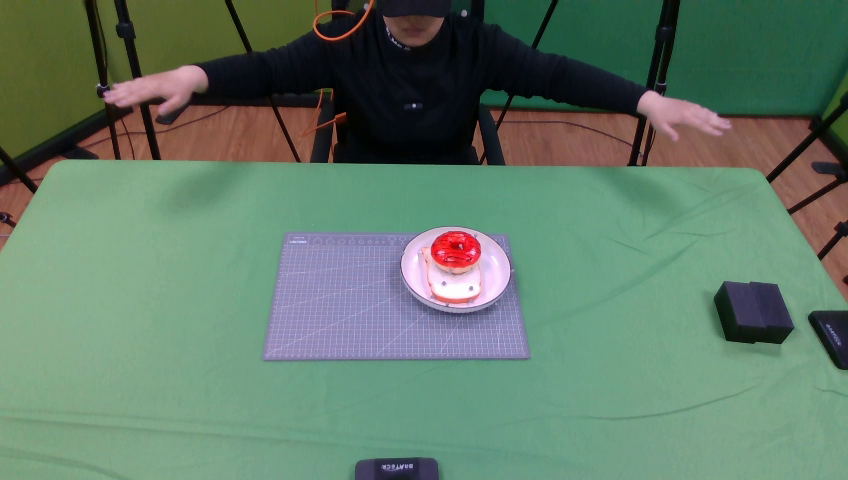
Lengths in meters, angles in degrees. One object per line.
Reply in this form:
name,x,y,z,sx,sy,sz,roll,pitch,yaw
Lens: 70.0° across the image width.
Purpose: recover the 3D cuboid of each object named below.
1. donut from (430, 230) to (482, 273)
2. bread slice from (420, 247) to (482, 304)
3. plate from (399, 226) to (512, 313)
donut,0.060,0.020,1.132,0.099,0.048,0.098,0,43,0
bread slice,0.056,0.062,1.131,0.107,0.018,0.133,-6,47,-8
plate,0.057,0.057,1.134,0.209,0.038,0.208,2,46,-2
